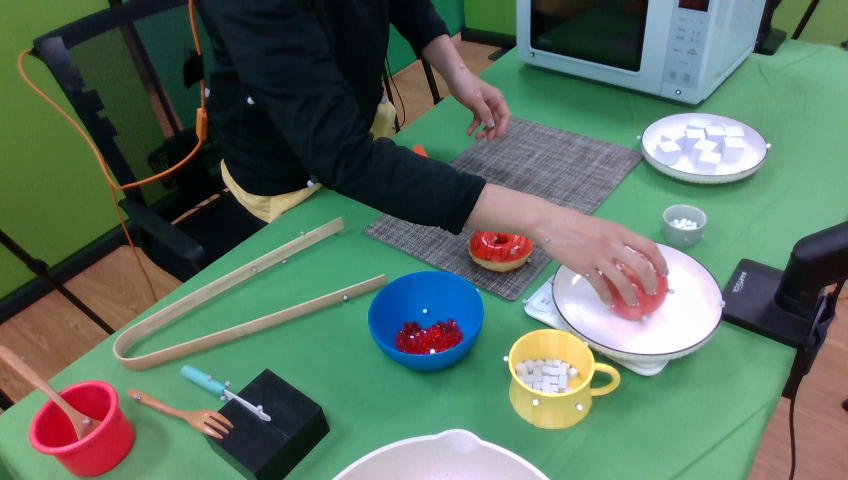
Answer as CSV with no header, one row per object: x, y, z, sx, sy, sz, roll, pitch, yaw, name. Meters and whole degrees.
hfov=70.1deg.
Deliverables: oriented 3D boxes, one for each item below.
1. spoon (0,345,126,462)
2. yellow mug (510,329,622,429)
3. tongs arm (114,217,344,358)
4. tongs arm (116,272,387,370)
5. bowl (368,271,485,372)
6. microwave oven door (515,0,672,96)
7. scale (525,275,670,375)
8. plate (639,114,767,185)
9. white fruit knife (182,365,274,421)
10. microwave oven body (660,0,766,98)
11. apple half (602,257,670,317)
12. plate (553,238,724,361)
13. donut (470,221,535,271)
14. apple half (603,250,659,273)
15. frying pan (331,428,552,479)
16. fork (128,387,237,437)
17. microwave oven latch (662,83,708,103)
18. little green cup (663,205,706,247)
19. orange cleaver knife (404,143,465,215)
-0.434,0.191,0.720,0.194,0.021,0.042,47,53,-6,spoon
0.169,0.164,0.721,0.130,0.064,0.099,0,40,8,yellow mug
-0.280,0.067,0.927,0.386,0.026,0.050,-29,48,-23,tongs arm
-0.237,0.114,0.869,0.389,0.028,0.028,-18,48,-12,tongs arm
0.007,0.119,0.791,0.151,0.077,0.150,-5,39,4,bowl
0.343,-0.455,1.259,0.353,0.245,0.039,26,51,33,microwave oven door
0.254,0.092,0.821,0.199,0.032,0.149,28,51,35,scale
0.489,-0.157,1.074,0.207,0.039,0.206,-4,40,4,plate
-0.245,0.188,0.747,0.205,0.027,0.016,9,40,41,white fruit knife
0.472,-0.513,1.317,0.438,0.261,0.327,26,51,34,microwave oven body
0.267,0.065,0.757,0.081,0.075,0.053,-1,41,1,apple half
0.273,0.078,0.784,0.209,0.038,0.208,-4,41,4,plate
0.119,0.009,0.923,0.099,0.048,0.098,-3,39,3,donut
0.268,0.040,0.786,0.081,0.081,0.032,-4,40,4,apple half
-0.089,0.306,0.564,0.487,0.103,0.306,10,41,7,frying pan
-0.305,0.207,0.744,0.206,0.019,0.028,3,41,35,fork
0.518,-0.296,1.204,0.078,0.029,0.030,28,52,35,microwave oven latch
0.396,-0.020,0.926,0.061,0.039,0.061,-4,40,4,little green cup
0.005,-0.113,1.102,0.077,0.012,0.209,-24,45,-9,orange cleaver knife
